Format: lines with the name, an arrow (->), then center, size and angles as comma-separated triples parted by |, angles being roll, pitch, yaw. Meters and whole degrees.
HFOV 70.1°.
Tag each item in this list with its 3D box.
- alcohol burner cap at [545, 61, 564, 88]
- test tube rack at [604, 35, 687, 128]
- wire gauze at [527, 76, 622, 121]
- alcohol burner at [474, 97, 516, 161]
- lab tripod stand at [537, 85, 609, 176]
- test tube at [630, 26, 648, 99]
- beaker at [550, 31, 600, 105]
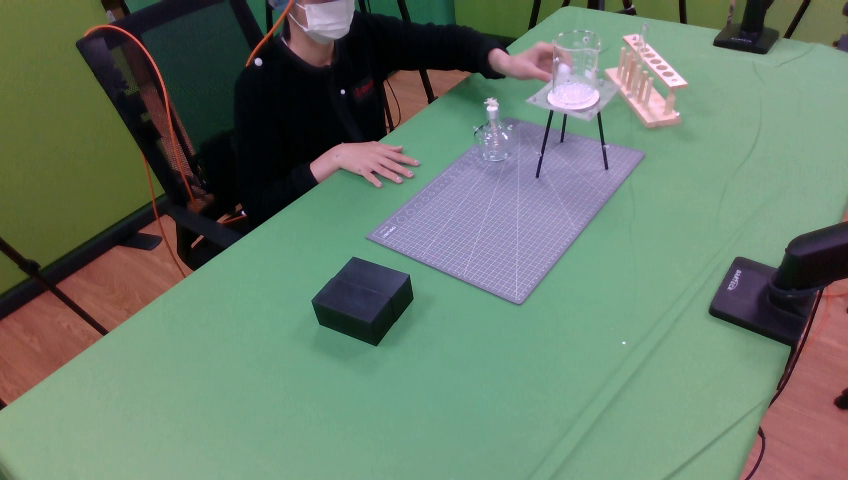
alcohol burner cap -> 0.242, -0.307, 1.118 | 0.034, 0.048, 0.033 | -4, 29, 3
test tube rack -> 0.447, -0.330, 1.241 | 0.067, 0.085, 0.241 | -9, 41, -2
wire gauze -> 0.255, -0.247, 1.030 | 0.124, 0.011, 0.122 | 23, 49, 34
alcohol burner -> 0.131, -0.208, 1.121 | 0.078, 0.119, 0.077 | -6, 40, 5
lab tripod stand -> 0.259, -0.192, 1.068 | 0.148, 0.132, 0.147 | -4, 43, 4
test tube -> 0.426, -0.350, 1.199 | 0.017, 0.151, 0.017 | -4, 42, 4
beaker -> 0.250, -0.281, 0.996 | 0.074, 0.101, 0.083 | -37, 49, -27
